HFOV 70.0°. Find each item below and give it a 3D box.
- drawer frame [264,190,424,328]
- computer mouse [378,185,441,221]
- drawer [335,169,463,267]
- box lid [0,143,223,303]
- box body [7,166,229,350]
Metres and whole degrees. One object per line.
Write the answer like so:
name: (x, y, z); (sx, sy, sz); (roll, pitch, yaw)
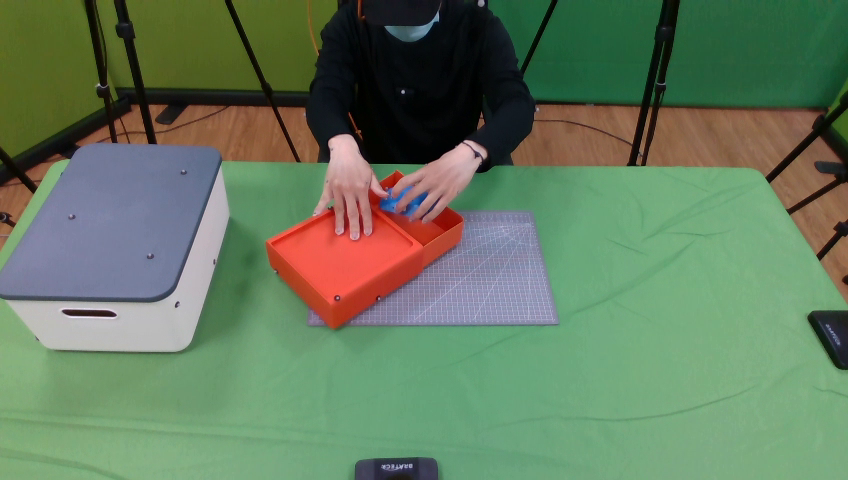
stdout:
drawer frame: (-0.144, 0.028, 1.114); (0.213, 0.083, 0.200); (-34, 57, -30)
computer mouse: (-0.029, -0.076, 1.151); (0.117, 0.041, 0.062); (13, 46, 21)
drawer: (-0.065, -0.023, 1.169); (0.211, 0.073, 0.193); (-35, 59, -30)
box lid: (-0.499, -0.045, 1.002); (0.263, 0.015, 0.369); (2, 46, -3)
box body: (-0.502, 0.008, 1.054); (0.254, 0.161, 0.361); (1, 46, -3)
